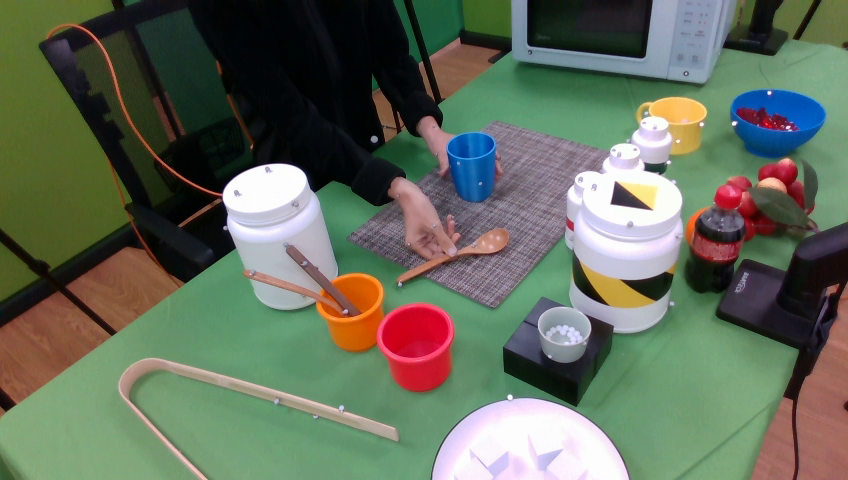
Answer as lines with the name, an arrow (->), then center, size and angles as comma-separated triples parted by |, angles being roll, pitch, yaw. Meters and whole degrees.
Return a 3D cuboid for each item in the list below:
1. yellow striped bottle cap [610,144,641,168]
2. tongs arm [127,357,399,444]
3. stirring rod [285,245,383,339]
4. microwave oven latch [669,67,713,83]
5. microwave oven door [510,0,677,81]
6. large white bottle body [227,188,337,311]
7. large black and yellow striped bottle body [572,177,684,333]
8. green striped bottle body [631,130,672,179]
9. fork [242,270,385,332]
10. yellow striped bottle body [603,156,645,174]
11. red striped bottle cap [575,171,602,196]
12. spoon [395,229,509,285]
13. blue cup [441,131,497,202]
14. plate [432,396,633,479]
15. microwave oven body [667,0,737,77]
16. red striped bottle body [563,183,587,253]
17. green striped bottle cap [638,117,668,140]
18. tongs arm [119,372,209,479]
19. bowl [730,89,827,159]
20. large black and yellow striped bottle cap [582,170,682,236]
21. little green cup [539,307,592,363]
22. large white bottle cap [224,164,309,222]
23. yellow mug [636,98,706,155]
yellow striped bottle cap -> 0.307, -0.128, 0.923 | 0.044, 0.019, 0.044 | -6, 39, 5
tongs arm -> -0.213, 0.205, 0.755 | 0.382, 0.026, 0.051 | 12, 46, 23
stirring rod -> -0.121, 0.071, 0.819 | 0.176, 0.006, 0.014 | 44, 52, -6
microwave oven latch -> 0.556, -0.348, 1.261 | 0.078, 0.029, 0.030 | 16, 46, 27
microwave oven door -> 0.354, -0.478, 1.290 | 0.353, 0.245, 0.039 | 15, 45, 25
large white bottle body -> -0.207, -0.002, 0.883 | 0.130, 0.185, 0.130 | -4, 40, 4
large black and yellow striped bottle body -> 0.262, 0.017, 0.788 | 0.131, 0.185, 0.130 | -5, 40, 4
green striped bottle body -> 0.375, -0.140, 1.007 | 0.063, 0.120, 0.063 | -5, 40, 5
fork -> -0.142, 0.082, 0.802 | 0.209, 0.018, 0.028 | 28, 38, -26
yellow striped bottle body -> 0.313, -0.089, 0.956 | 0.063, 0.121, 0.062 | -4, 40, 4
red striped bottle cap -> 0.242, -0.081, 0.876 | 0.044, 0.018, 0.044 | -5, 44, 5
spoon -> 0.044, 0.027, 0.932 | 0.194, 0.022, 0.041 | -20, 57, -15
blue cup -> 0.084, -0.121, 1.039 | 0.092, 0.100, 0.092 | -5, 41, 5
plate -> 0.112, 0.261, 0.634 | 0.209, 0.038, 0.208 | -5, 40, 4
microwave oven body -> 0.462, -0.552, 1.369 | 0.439, 0.261, 0.326 | 15, 45, 26
red striped bottle body -> 0.246, -0.041, 0.910 | 0.063, 0.120, 0.062 | -2, 38, 2
green striped bottle cap -> 0.369, -0.180, 0.974 | 0.044, 0.020, 0.044 | -4, 41, 4
tongs arm -> -0.258, 0.257, 0.700 | 0.384, 0.028, 0.028 | 24, 55, 34
bowl -> 0.615, -0.197, 1.069 | 0.151, 0.077, 0.150 | -5, 40, 5
large black and yellow striped bottle cap -> 0.252, -0.048, 0.735 | 0.115, 0.019, 0.114 | -3, 40, 3
little green cup -> 0.168, 0.115, 0.721 | 0.061, 0.039, 0.061 | -4, 42, 4
large white bottle cap -> -0.216, -0.066, 0.829 | 0.115, 0.018, 0.114 | -4, 40, 4
yellow mug -> 0.453, -0.217, 1.128 | 0.100, 0.064, 0.129 | -34, 46, -27
